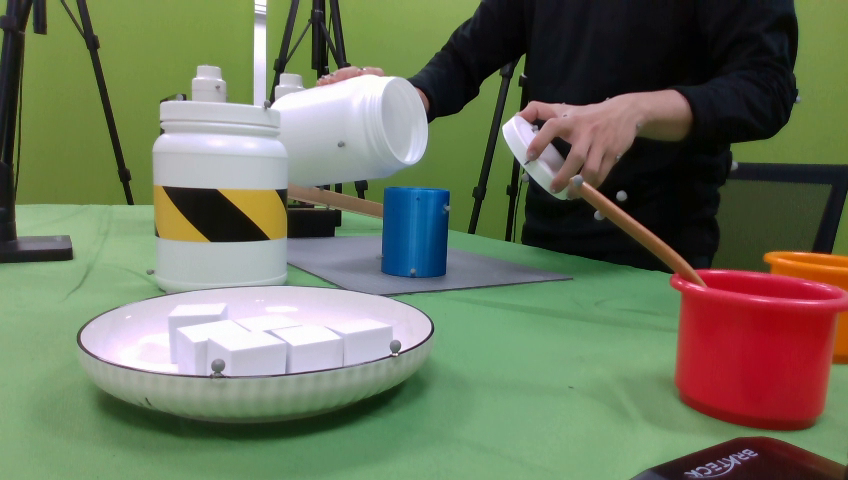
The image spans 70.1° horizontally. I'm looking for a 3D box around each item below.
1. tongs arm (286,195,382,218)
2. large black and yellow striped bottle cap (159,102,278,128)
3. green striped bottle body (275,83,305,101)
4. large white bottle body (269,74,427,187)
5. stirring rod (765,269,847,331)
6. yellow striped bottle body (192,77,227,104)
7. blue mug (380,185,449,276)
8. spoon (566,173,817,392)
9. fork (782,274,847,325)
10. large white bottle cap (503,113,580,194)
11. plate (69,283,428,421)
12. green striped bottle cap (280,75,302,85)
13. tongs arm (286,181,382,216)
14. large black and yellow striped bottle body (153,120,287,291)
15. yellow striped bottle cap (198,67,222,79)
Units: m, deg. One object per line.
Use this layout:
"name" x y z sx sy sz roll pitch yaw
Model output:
"tongs arm" -0.165 -0.074 1.216 0.389 0.027 0.028 11 -6 -24
"large black and yellow striped bottle cap" -0.207 -0.125 0.615 0.115 0.019 0.115 2 6 0
"green striped bottle body" -0.269 -0.269 1.221 0.063 0.119 0.063 2 7 0
"large white bottle body" -0.101 -0.142 0.791 0.184 0.130 0.131 -4 3 32
"stirring rod" 0.351 0.020 0.484 0.176 0.006 0.014 -39 -6 12
"yellow striped bottle body" -0.414 -0.268 1.169 0.063 0.120 0.063 2 7 0
"blue mug" -0.018 -0.016 0.764 0.083 0.106 0.116 -1 8 -25
"spoon" 0.161 0.024 0.370 0.193 0.021 0.042 47 18 3
"fork" 0.332 0.018 0.443 0.028 0.018 0.207 -2 -36 -15
"large white bottle cap" 0.139 -0.102 0.708 0.018 0.114 0.115 -44 -19 29
"plate" -0.102 0.066 0.381 0.208 0.039 0.207 2 7 0
"green striped bottle cap" -0.267 -0.320 1.216 0.044 0.020 0.044 2 9 0
"tongs arm" -0.122 -0.066 1.147 0.387 0.026 0.050 11 -3 -37
"large black and yellow striped bottle body" -0.208 -0.042 0.626 0.131 0.184 0.130 2 7 0
"yellow striped bottle cap" -0.412 -0.320 1.162 0.044 0.018 0.044 1 5 0
